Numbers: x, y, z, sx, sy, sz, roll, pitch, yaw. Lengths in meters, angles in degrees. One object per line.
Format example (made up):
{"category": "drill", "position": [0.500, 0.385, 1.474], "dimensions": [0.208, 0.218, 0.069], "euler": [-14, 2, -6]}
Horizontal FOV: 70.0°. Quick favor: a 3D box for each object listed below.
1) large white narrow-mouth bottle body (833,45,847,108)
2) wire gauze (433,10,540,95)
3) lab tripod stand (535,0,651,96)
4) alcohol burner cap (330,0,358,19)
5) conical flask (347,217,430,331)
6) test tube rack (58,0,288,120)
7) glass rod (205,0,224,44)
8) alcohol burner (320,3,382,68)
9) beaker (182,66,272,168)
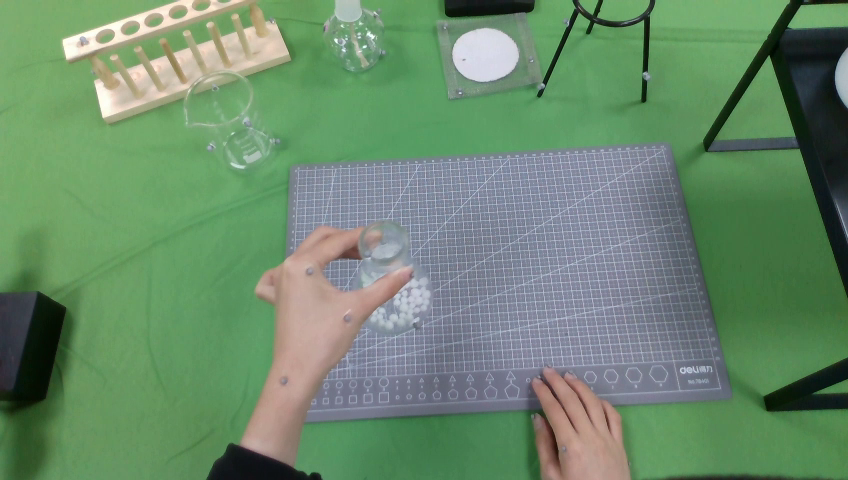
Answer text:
{"category": "large white narrow-mouth bottle body", "position": [0.397, -0.171, 0.436], "dimensions": [0.102, 0.196, 0.101], "euler": [-1, 64, 2]}
{"category": "wire gauze", "position": [0.079, -0.246, 0.780], "dimensions": [0.121, 0.011, 0.124], "euler": [-7, 66, -2]}
{"category": "lab tripod stand", "position": [0.205, -0.240, 0.704], "dimensions": [0.148, 0.132, 0.147], "euler": [0, 65, 0]}
{"category": "alcohol burner cap", "position": [-0.093, -0.287, 0.707], "dimensions": [0.034, 0.048, 0.033], "euler": [3, 65, -6]}
{"category": "conical flask", "position": [-0.032, 0.024, 0.499], "dimensions": [0.075, 0.123, 0.074], "euler": [0, 65, 0]}
{"category": "test tube rack", "position": [-0.302, -0.238, 0.748], "dimensions": [0.242, 0.086, 0.066], "euler": [-22, 67, -8]}
{"category": "glass rod", "position": [-0.258, -0.301, 0.701], "dimensions": [0.008, 0.201, 0.008], "euler": [1, 64, -2]}
{"category": "alcohol burner", "position": [-0.091, -0.269, 0.739], "dimensions": [0.078, 0.120, 0.077], "euler": [0, 64, 1]}
{"category": "beaker", "position": [-0.222, -0.134, 0.691], "dimensions": [0.084, 0.101, 0.073], "euler": [-43, 70, -15]}
